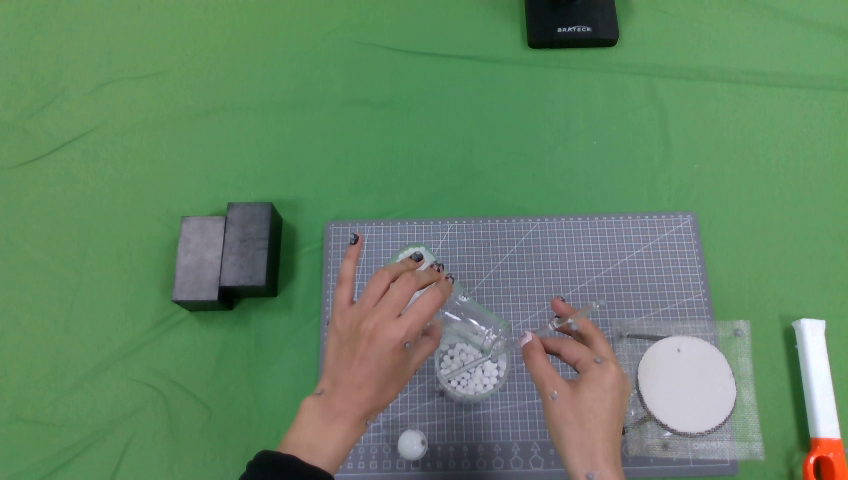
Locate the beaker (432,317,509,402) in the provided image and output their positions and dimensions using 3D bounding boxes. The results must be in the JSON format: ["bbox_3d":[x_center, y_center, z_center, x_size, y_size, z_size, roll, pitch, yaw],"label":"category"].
[{"bbox_3d":[0.048,0.128,0.632,0.074,0.101,0.083,21,72,8],"label":"beaker"}]

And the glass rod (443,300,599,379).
[{"bbox_3d":[0.079,0.093,0.541,0.008,0.200,0.008,21,51,-29],"label":"glass rod"}]

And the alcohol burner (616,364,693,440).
[{"bbox_3d":[0.237,0.161,0.611,0.078,0.120,0.077,-1,71,3],"label":"alcohol burner"}]

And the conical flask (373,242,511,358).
[{"bbox_3d":[0.019,0.058,0.549,0.121,0.076,0.075,31,73,26],"label":"conical flask"}]

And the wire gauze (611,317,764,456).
[{"bbox_3d":[0.234,0.128,0.540,0.125,0.011,0.120,1,73,2],"label":"wire gauze"}]

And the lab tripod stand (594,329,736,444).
[{"bbox_3d":[0.235,0.152,0.604,0.148,0.132,0.147,0,73,1],"label":"lab tripod stand"}]

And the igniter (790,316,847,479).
[{"bbox_3d":[0.422,0.217,0.638,0.057,0.025,0.275,6,71,-9],"label":"igniter"}]

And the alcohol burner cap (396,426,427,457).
[{"bbox_3d":[-0.014,0.211,0.635,0.034,0.048,0.033,0,72,0],"label":"alcohol burner cap"}]
